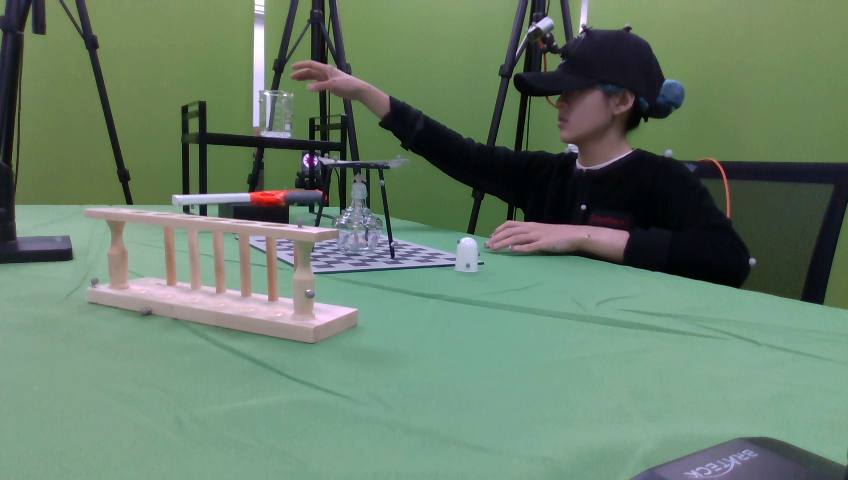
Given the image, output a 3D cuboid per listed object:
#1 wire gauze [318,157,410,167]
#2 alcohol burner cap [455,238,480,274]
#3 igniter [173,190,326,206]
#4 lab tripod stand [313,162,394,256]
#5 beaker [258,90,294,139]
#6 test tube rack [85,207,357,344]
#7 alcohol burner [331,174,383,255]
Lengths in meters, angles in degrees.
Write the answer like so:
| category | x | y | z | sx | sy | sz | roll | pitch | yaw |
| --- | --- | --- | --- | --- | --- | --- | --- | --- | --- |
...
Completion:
| category | x | y | z | sx | sy | sz | roll | pitch | yaw |
| --- | --- | --- | --- | --- | --- | --- | --- | --- | --- |
| wire gauze | -0.091 | -0.114 | 0.888 | 0.122 | 0.011 | 0.124 | 0 | 6 | -15 |
| alcohol burner cap | 0.058 | 0.022 | 0.798 | 0.034 | 0.048 | 0.034 | 3 | 6 | 0 |
| igniter | -0.317 | -0.079 | 1.128 | 0.278 | 0.025 | 0.057 | -4 | 13 | -32 |
| lab tripod stand | -0.098 | -0.048 | 0.897 | 0.148 | 0.131 | 0.148 | 1 | 6 | 0 |
| beaker | -0.324 | -0.274 | 1.331 | 0.083 | 0.100 | 0.074 | 7 | 9 | 24 |
| test tube rack | -0.177 | 0.022 | 0.518 | 0.241 | 0.085 | 0.067 | 6 | 7 | 23 |
| alcohol burner | -0.098 | -0.038 | 0.895 | 0.078 | 0.119 | 0.078 | 4 | 9 | 0 |
